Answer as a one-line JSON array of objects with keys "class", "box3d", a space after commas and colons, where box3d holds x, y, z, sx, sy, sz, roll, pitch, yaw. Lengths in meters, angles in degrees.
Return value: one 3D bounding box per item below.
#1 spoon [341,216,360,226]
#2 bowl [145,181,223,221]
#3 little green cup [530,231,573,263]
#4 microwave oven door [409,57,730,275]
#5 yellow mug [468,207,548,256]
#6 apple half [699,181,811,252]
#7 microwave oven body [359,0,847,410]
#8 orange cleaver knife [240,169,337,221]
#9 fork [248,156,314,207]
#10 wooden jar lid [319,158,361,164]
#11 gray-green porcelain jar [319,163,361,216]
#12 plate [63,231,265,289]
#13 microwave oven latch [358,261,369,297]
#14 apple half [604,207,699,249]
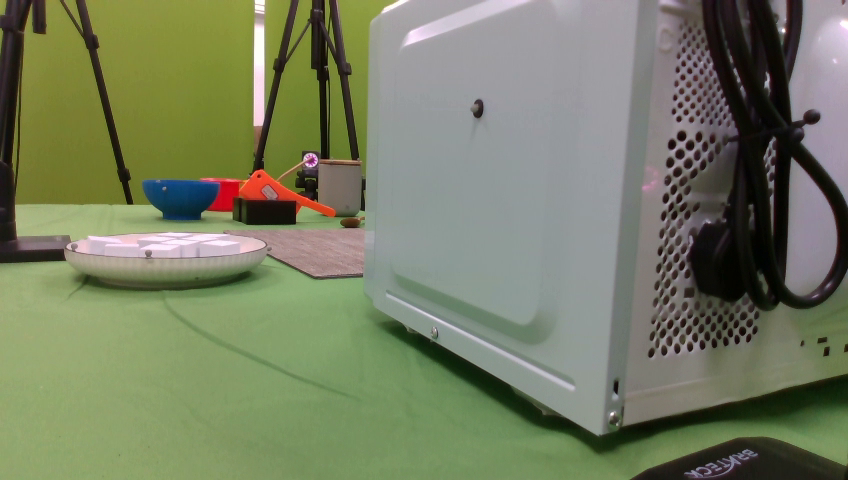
[{"class": "spoon", "box3d": [-0.132, -0.048, 1.305, 0.041, 0.021, 0.194, -14, 4, 14]}, {"class": "bowl", "box3d": [-0.499, -0.082, 1.261, 0.151, 0.077, 0.151, 2, 8, 0]}, {"class": "little green cup", "box3d": [0.184, 0.009, 0.879, 0.061, 0.038, 0.061, 2, 9, 0]}, {"class": "microwave oven door", "box3d": [0.163, -0.088, 0.712, 0.356, 0.243, 0.039, 2, 8, 5]}, {"class": "yellow mug", "box3d": [0.136, -0.015, 0.951, 0.131, 0.064, 0.099, 2, 7, -20]}, {"class": "apple half", "box3d": [0.281, -0.021, 0.511, 0.075, 0.053, 0.080, 13, -10, -18]}, {"class": "microwave oven body", "box3d": [0.210, -0.050, 0.470, 0.444, 0.260, 0.324, -1, 7, -28]}, {"class": "orange cleaver knife", "box3d": [-0.286, -0.082, 1.298, 0.212, 0.077, 0.012, 25, -2, -31]}, {"class": "fork", "box3d": [-0.360, -0.147, 1.523, 0.207, 0.019, 0.028, -43, 17, -6]}, {"class": "wooden jar lid", "box3d": [-0.203, -0.189, 1.482, 0.108, 0.020, 0.108, 2, 10, 0]}, {"class": "gray-green porcelain jar", "box3d": [-0.204, -0.126, 1.490, 0.106, 0.126, 0.106, 2, 8, 0]}, {"class": "plate", "box3d": [-0.288, 0.021, 0.687, 0.208, 0.039, 0.207, 2, 8, 0]}, {"class": "microwave oven latch", "box3d": [-0.018, 0.033, 0.529, 0.079, 0.029, 0.030, -1, 7, -28]}, {"class": "apple half", "box3d": [0.207, -0.013, 0.543, 0.081, 0.033, 0.081, 4, 10, 0]}]
